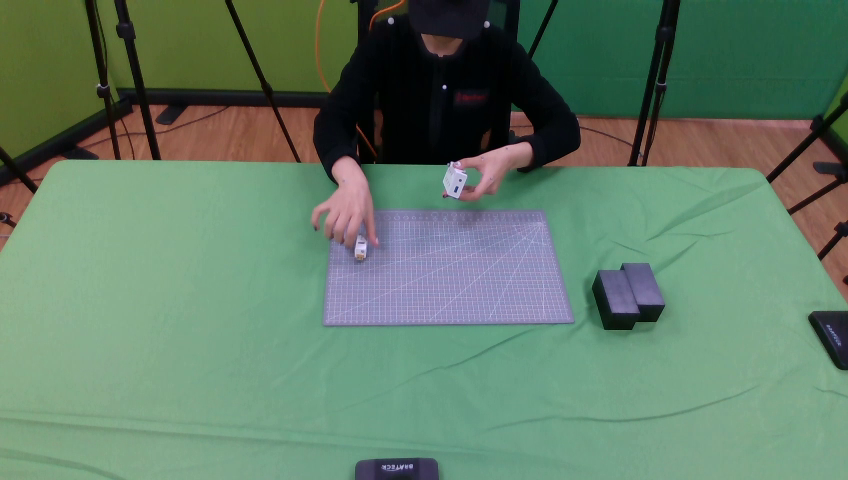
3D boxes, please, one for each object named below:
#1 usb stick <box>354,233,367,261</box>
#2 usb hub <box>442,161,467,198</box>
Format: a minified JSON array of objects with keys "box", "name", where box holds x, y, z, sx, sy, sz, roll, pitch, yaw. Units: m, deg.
[{"box":[-0.123,0.015,1.168,0.021,0.027,0.059,4,48,-1],"name":"usb stick"},{"box":[0.060,-0.122,1.201,0.025,0.049,0.124,20,15,-10],"name":"usb hub"}]
